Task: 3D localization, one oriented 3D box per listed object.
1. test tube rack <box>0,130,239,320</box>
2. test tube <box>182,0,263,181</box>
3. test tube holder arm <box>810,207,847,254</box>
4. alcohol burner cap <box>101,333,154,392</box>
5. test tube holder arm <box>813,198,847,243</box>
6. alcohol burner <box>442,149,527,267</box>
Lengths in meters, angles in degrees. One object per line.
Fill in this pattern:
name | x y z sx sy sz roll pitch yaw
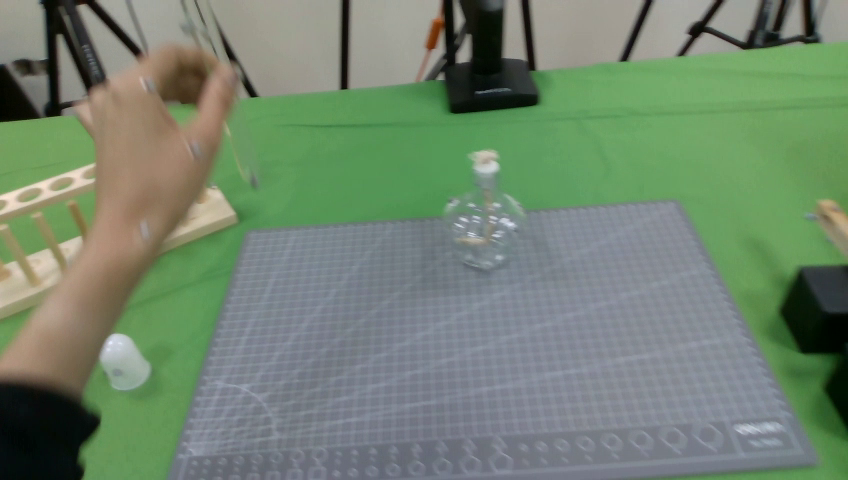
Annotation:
test tube rack | -0.320 -0.019 0.598 0.242 0.086 0.066 -26 45 -22
test tube | -0.125 -0.091 0.386 0.017 0.151 0.017 0 53 0
test tube holder arm | 0.344 0.027 0.452 0.015 0.013 0.176 1 39 -4
alcohol burner cap | -0.243 0.096 0.492 0.034 0.048 0.033 -2 41 2
test tube holder arm | 0.342 -0.005 0.483 0.015 0.010 0.087 1 40 -4
alcohol burner | 0.055 -0.033 0.550 0.078 0.120 0.077 -2 42 2
